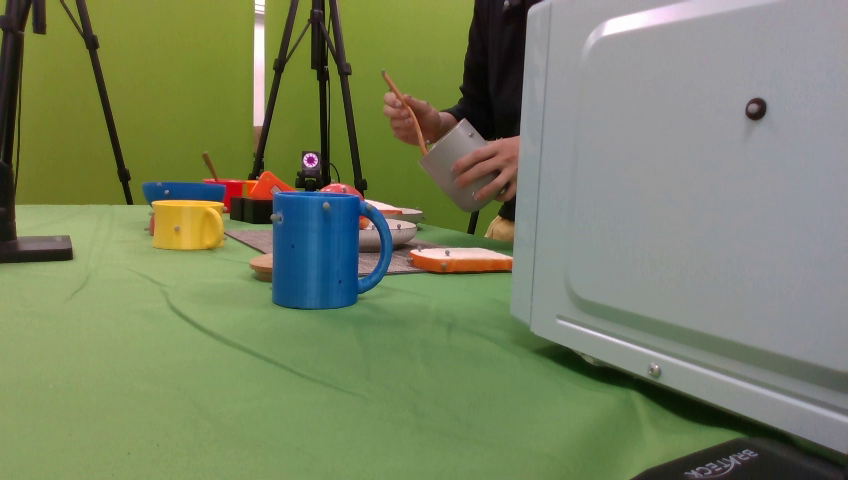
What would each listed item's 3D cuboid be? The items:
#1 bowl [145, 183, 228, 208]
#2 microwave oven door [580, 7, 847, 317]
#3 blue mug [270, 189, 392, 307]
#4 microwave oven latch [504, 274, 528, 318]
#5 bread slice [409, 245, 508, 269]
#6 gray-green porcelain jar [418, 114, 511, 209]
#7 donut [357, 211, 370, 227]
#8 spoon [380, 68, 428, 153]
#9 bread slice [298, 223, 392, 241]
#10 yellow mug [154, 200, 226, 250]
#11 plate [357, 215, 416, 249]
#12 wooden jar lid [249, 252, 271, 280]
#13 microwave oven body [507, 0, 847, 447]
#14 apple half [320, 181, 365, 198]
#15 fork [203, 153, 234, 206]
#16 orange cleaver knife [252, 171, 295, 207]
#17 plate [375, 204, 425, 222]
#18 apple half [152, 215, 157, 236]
[{"bbox_3d":[-0.459,-0.069,1.175,0.151,0.077,0.151,3,7,0],"label":"bowl"},{"bbox_3d":[0.295,-0.067,0.570,0.358,0.243,0.039,-3,9,-31],"label":"microwave oven door"},{"bbox_3d":[-0.090,0.005,0.588,0.117,0.106,0.082,1,7,-11],"label":"blue mug"},{"bbox_3d":[0.100,0.041,0.470,0.079,0.029,0.030,-1,7,-27],"label":"microwave oven latch"},{"bbox_3d":[0.048,0.021,0.816,0.132,0.019,0.104,-1,7,-24],"label":"bread slice"},{"bbox_3d":[0.070,-0.122,0.981,0.126,0.106,0.106,46,8,-8],"label":"gray-green porcelain jar"},{"bbox_3d":[-0.132,-0.042,0.959,0.099,0.048,0.099,2,7,0],"label":"donut"},{"bbox_3d":[-0.019,-0.199,0.983,0.021,0.193,0.042,-29,-5,10],"label":"spoon"},{"bbox_3d":[-0.120,-0.014,0.970,0.106,0.018,0.135,9,9,41],"label":"bread slice"},{"bbox_3d":[-0.337,-0.022,0.899,0.130,0.064,0.100,8,9,34],"label":"yellow mug"},{"bbox_3d":[-0.116,-0.014,0.967,0.208,0.039,0.207,2,7,0],"label":"plate"},{"bbox_3d":[-0.148,0.028,0.708,0.108,0.020,0.108,-1,10,0],"label":"wooden jar lid"},{"bbox_3d":[0.331,-0.042,0.425,0.444,0.260,0.324,-2,8,-31],"label":"microwave oven body"},{"bbox_3d":[-0.130,-0.077,0.952,0.081,0.033,0.081,4,14,-1],"label":"apple half"},{"bbox_3d":[-0.480,-0.136,1.412,0.028,0.018,0.207,0,-34,-1],"label":"fork"},{"bbox_3d":[-0.283,-0.087,1.343,0.212,0.077,0.012,24,-16,-41],"label":"orange cleaver knife"},{"bbox_3d":[-0.102,-0.053,1.299,0.209,0.038,0.209,2,8,0],"label":"plate"},{"bbox_3d":[-0.415,-0.034,1.017,0.081,0.053,0.074,1,10,-8],"label":"apple half"}]
